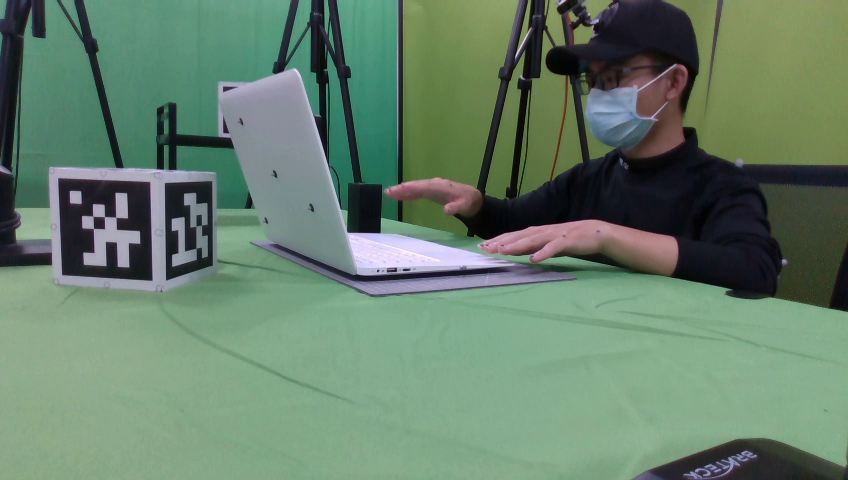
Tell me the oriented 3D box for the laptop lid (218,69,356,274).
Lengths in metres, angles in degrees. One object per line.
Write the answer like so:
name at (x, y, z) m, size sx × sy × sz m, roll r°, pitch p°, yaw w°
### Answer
laptop lid at (-0.195, -0.090, 0.798) m, size 0.013 × 0.242 × 0.355 m, roll -23°, pitch 20°, yaw -27°

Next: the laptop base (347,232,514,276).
laptop base at (-0.066, 0.017, 0.893) m, size 0.237 × 0.023 × 0.352 m, roll 2°, pitch 6°, yaw -32°
